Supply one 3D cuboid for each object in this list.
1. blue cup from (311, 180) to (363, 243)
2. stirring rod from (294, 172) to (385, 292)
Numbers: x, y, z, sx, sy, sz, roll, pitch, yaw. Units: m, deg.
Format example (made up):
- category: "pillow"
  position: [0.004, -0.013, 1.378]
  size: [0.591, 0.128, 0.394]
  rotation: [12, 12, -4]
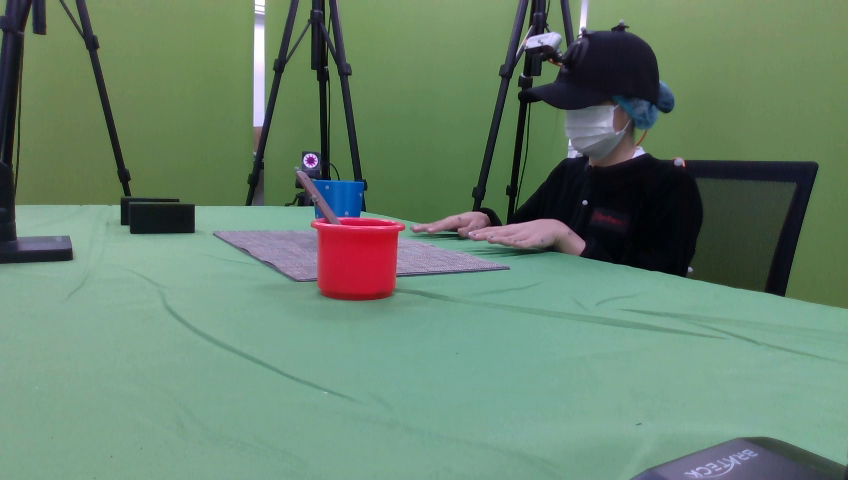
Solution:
- category: "blue cup"
  position: [-0.144, -0.047, 0.997]
  size: [0.093, 0.100, 0.092]
  rotation: [2, 6, 0]
- category: "stirring rod"
  position: [-0.092, -0.012, 0.639]
  size: [0.014, 0.006, 0.175]
  rotation: [-2, 48, -53]
